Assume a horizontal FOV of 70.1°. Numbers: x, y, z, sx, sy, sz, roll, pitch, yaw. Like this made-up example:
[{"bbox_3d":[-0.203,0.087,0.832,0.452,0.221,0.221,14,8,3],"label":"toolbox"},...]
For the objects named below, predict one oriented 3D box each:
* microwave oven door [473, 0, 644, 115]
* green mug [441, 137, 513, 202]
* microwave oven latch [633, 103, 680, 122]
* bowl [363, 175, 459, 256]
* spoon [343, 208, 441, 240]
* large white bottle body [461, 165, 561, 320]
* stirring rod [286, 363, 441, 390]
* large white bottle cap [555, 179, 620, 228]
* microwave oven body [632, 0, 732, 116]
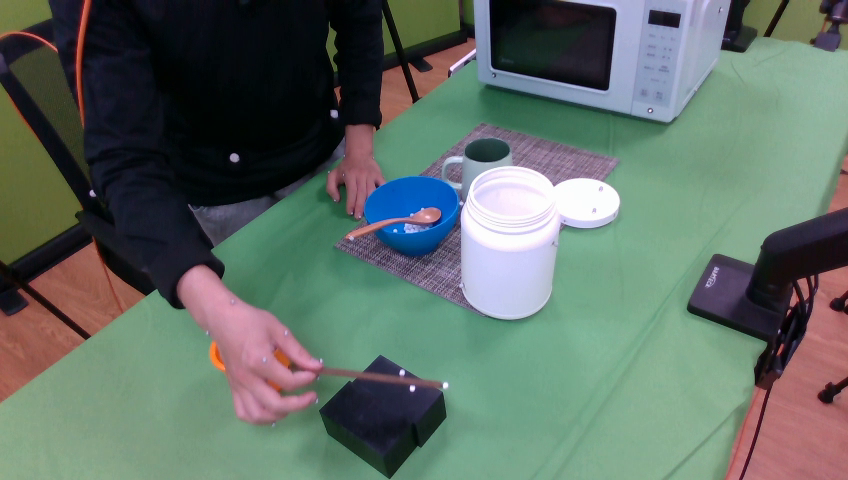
[{"bbox_3d":[0.257,-0.396,1.199,0.353,0.245,0.039,21,48,29],"label":"microwave oven door"},{"bbox_3d":[0.091,-0.108,1.012,0.125,0.105,0.092,2,42,11],"label":"green mug"},{"bbox_3d":[0.444,-0.249,1.157,0.078,0.029,0.030,21,49,30],"label":"microwave oven latch"},{"bbox_3d":[-0.016,-0.028,0.955,0.151,0.077,0.150,-4,40,3],"label":"bowl"},{"bbox_3d":[-0.046,-0.025,0.912,0.041,0.021,0.195,27,27,37],"label":"spoon"},{"bbox_3d":[0.115,0.004,0.815,0.130,0.185,0.130,-2,43,2],"label":"large white bottle body"},{"bbox_3d":[-0.068,0.152,0.676,0.176,0.006,0.014,7,9,4],"label":"stirring rod"},{"bbox_3d":[0.265,-0.062,1.001,0.115,0.018,0.114,-3,41,3],"label":"large white bottle cap"},{"bbox_3d":[0.377,-0.462,1.267,0.438,0.261,0.327,21,49,30],"label":"microwave oven body"}]
